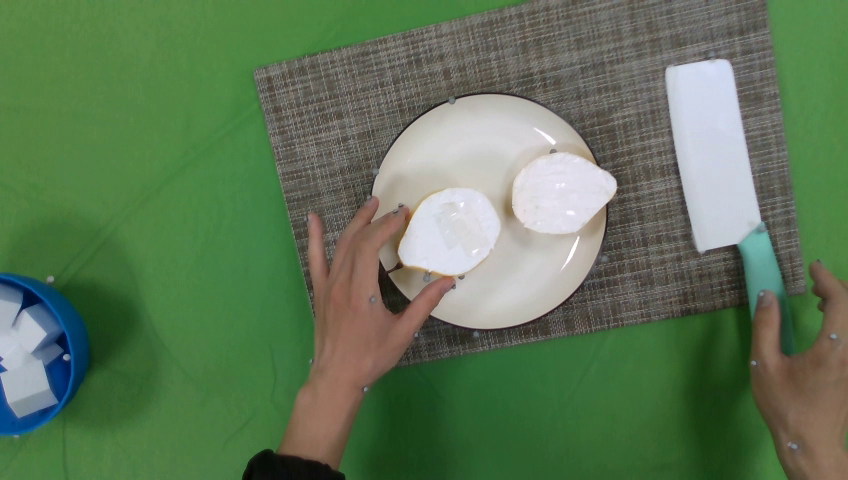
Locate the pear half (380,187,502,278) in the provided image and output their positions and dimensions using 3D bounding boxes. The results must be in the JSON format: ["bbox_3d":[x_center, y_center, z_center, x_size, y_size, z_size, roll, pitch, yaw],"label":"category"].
[{"bbox_3d":[0.008,0.001,0.523,0.110,0.056,0.076,-28,93,-6],"label":"pear half"}]

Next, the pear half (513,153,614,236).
[{"bbox_3d":[0.122,-0.040,0.527,0.087,0.031,0.070,-5,96,23],"label":"pear half"}]

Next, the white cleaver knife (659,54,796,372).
[{"bbox_3d":[0.267,-0.021,0.536,0.066,0.021,0.286,-15,92,14],"label":"white cleaver knife"}]

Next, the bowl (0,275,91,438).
[{"bbox_3d":[-0.377,0.101,0.575,0.151,0.076,0.151,1,97,5],"label":"bowl"}]

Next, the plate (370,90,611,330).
[{"bbox_3d":[0.057,-0.025,0.540,0.207,0.039,0.208,1,98,5],"label":"plate"}]
